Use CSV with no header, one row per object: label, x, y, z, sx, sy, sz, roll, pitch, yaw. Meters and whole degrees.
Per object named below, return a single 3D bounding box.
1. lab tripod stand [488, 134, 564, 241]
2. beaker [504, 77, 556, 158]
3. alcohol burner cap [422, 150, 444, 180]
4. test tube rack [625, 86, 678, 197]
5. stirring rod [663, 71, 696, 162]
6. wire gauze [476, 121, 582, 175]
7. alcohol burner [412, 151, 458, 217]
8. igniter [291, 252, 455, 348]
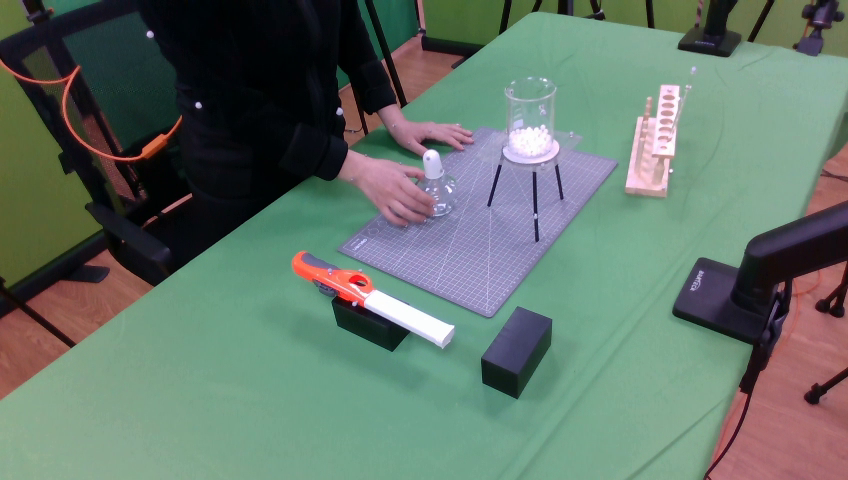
lab tripod stand,0.168,-0.092,0.972,0.148,0.132,0.147,-5,41,5
beaker,0.160,-0.181,0.900,0.084,0.101,0.073,-32,46,-27
alcohol burner cap,0.014,-0.125,0.992,0.034,0.048,0.033,-8,42,7
test tube rack,0.412,-0.184,1.088,0.066,0.085,0.242,9,43,18
stirring rod,0.410,-0.195,0.981,0.014,0.177,0.006,11,50,13
wire gauze,0.162,-0.142,0.929,0.120,0.011,0.125,19,49,32
alcohol burner,0.017,-0.098,1.015,0.078,0.119,0.077,-5,42,5
igniter,-0.080,0.076,0.822,0.274,0.025,0.057,23,46,27
